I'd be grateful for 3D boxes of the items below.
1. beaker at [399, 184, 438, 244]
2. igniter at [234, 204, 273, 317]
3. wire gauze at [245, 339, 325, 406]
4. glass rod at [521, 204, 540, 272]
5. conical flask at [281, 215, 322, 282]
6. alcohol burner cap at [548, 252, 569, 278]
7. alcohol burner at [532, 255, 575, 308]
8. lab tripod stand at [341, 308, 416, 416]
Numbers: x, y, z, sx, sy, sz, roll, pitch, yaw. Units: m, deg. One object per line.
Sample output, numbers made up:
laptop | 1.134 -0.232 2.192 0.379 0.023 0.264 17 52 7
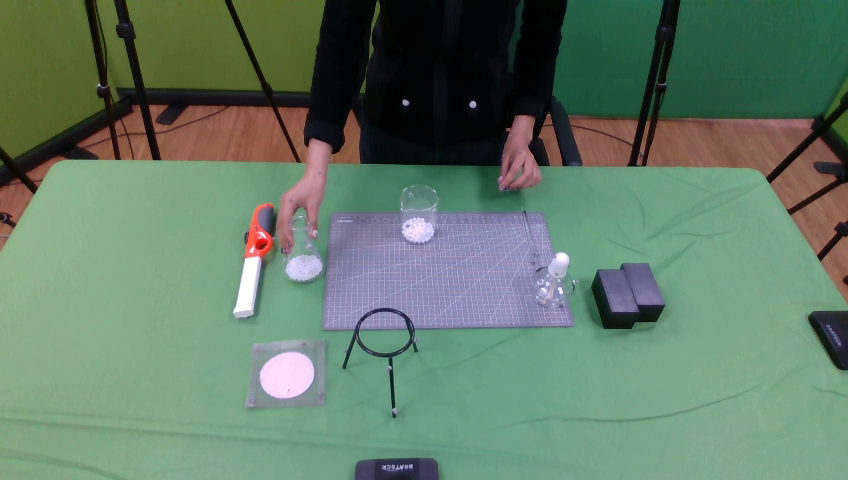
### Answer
beaker | -0.015 -0.046 1.186 0.073 0.101 0.084 36 54 27
igniter | -0.320 0.029 1.142 0.057 0.025 0.274 -8 46 4
wire gauze | -0.224 0.214 0.984 0.125 0.011 0.120 -2 46 -4
glass rod | 0.215 -0.008 1.230 0.008 0.008 0.198 0 43 -3
conical flask | -0.224 0.013 1.097 0.075 0.122 0.075 4 44 -4
alcohol burner cap | 0.238 0.042 1.060 0.034 0.048 0.033 1 53 -1
alcohol burner | 0.235 0.066 1.087 0.078 0.119 0.077 4 45 -3
lab tripod stand | -0.061 0.177 0.946 0.148 0.132 0.147 2 44 -2
